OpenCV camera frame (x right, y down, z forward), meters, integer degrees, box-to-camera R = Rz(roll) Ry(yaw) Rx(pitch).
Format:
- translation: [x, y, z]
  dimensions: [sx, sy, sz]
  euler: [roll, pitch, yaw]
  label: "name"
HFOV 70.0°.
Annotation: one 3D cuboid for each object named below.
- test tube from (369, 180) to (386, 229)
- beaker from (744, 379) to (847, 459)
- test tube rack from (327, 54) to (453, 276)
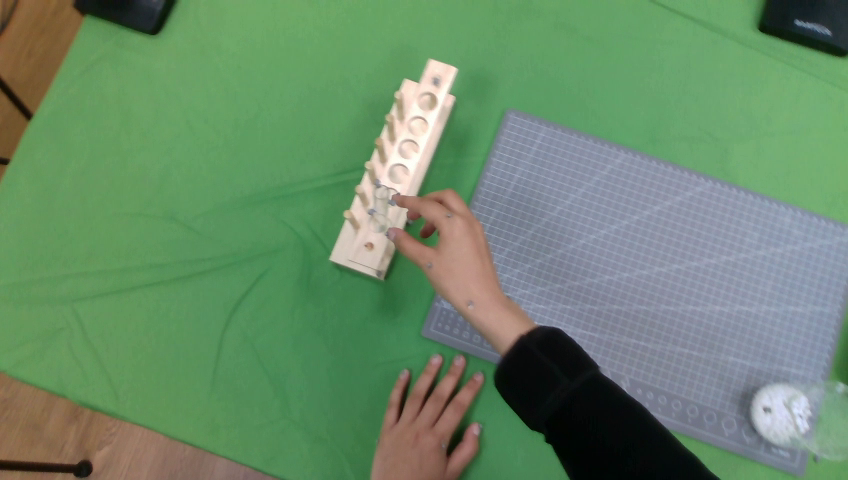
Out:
- translation: [-0.049, -0.027, 0.627]
  dimensions: [0.017, 0.151, 0.017]
  euler: [1, 73, -5]
  label: "test tube"
- translation: [0.388, 0.181, 0.631]
  dimensions: [0.084, 0.100, 0.074]
  euler: [22, 79, 5]
  label: "beaker"
- translation: [-0.040, -0.087, 0.689]
  dimensions: [0.066, 0.085, 0.241]
  euler: [20, 80, 4]
  label: "test tube rack"
